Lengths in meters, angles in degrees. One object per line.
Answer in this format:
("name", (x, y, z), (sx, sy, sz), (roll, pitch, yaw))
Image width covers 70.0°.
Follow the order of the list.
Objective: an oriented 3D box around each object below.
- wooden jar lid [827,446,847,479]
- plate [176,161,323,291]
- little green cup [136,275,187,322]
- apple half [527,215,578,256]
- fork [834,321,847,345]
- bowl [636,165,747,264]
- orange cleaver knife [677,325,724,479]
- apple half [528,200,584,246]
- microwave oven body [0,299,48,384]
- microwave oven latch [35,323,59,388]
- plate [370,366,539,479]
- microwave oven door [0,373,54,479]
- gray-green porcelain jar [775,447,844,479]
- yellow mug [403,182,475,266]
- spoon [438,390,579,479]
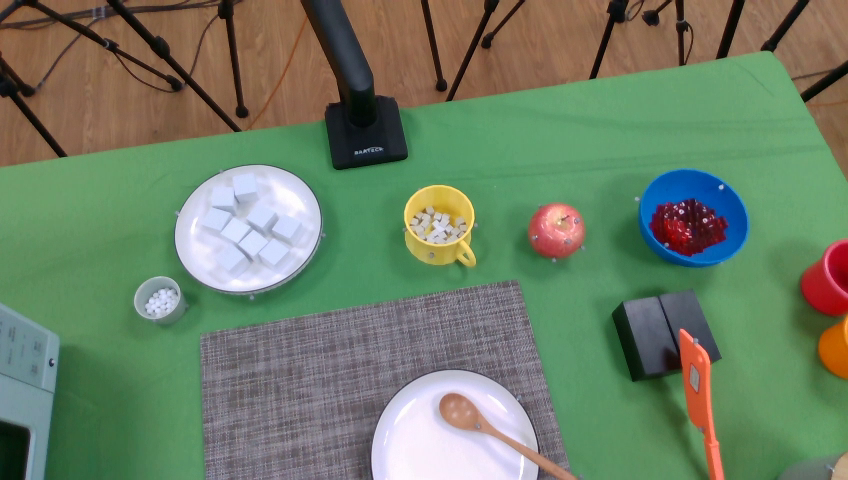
("wooden jar lid", (0.482, 0.272, 0.646), (0.108, 0.021, 0.107), (1, 67, -1))
("plate", (-0.250, -0.019, 0.884), (0.208, 0.039, 0.206), (0, 65, -1))
("little green cup", (-0.358, 0.082, 0.833), (0.061, 0.039, 0.061), (1, 66, -2))
("apple half", (0.176, 0.004, 0.861), (0.081, 0.082, 0.032), (29, 65, 12))
("fork", (0.577, 0.159, 0.756), (0.028, 0.019, 0.206), (7, 22, 1))
("bowl", (0.373, -0.024, 0.876), (0.151, 0.077, 0.150), (0, 66, 0))
("orange cleaver knife", (0.346, 0.212, 0.760), (0.012, 0.077, 0.212), (-12, 99, -2))
("apple half", (0.196, -0.026, 0.876), (0.080, 0.075, 0.053), (28, 64, 15))
("microwave oven body", (-0.616, 0.284, 0.610), (0.326, 0.262, 0.438), (-6, 66, -5))
("microwave oven latch", (-0.493, 0.150, 0.780), (0.030, 0.030, 0.078), (-6, 66, -4))
("plate", (0.037, 0.263, 0.755), (0.209, 0.038, 0.207), (1, 66, -1))
("microwave oven door", (-0.466, 0.303, 0.598), (0.039, 0.245, 0.352), (-7, 65, -4))
("gray-green porcelain jar", (0.482, 0.300, 0.702), (0.106, 0.127, 0.105), (0, 65, -1))
("yellow mug", (0.029, -0.014, 0.871), (0.100, 0.064, 0.130), (-37, 72, -17))
("spoon", (0.102, 0.245, 0.750), (0.192, 0.022, 0.041), (26, 61, 23))
